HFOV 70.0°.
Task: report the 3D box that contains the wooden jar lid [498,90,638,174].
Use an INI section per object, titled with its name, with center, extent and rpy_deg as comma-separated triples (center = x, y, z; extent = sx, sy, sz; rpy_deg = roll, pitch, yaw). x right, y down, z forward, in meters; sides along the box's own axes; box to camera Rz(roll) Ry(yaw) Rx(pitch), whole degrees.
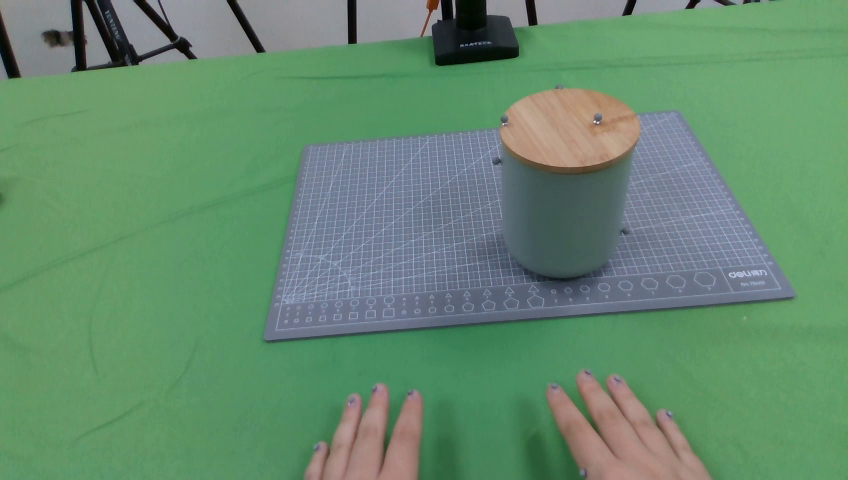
[wooden jar lid]
center = 0.113, -0.083, 0.484
extent = 0.108, 0.021, 0.107
rpy_deg = -4, 44, 5

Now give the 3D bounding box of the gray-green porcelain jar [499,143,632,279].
[gray-green porcelain jar]
center = 0.119, -0.038, 0.526
extent = 0.106, 0.128, 0.105
rpy_deg = -4, 43, 4
